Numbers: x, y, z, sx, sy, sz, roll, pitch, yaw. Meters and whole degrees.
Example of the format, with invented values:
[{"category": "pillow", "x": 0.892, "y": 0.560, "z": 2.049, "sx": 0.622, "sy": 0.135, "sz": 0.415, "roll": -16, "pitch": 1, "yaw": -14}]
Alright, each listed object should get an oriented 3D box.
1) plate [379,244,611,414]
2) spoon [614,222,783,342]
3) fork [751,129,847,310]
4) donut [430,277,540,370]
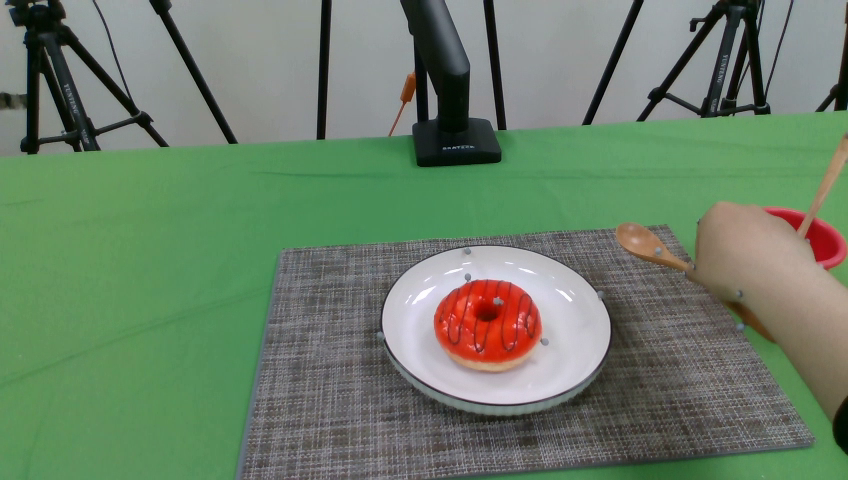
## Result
[{"category": "plate", "x": 0.064, "y": 0.080, "z": 0.558, "sx": 0.209, "sy": 0.038, "sz": 0.207, "roll": 0, "pitch": 37, "yaw": 1}, {"category": "spoon", "x": 0.231, "y": 0.030, "z": 0.528, "sx": 0.042, "sy": 0.022, "sz": 0.191, "roll": -9, "pitch": 26, "yaw": -17}, {"category": "fork", "x": 0.381, "y": -0.023, "z": 0.603, "sx": 0.028, "sy": 0.019, "sz": 0.207, "roll": 27, "pitch": 88, "yaw": 32}, {"category": "donut", "x": 0.055, "y": 0.074, "z": 0.547, "sx": 0.099, "sy": 0.048, "sz": 0.098, "roll": -1, "pitch": 40, "yaw": 1}]
